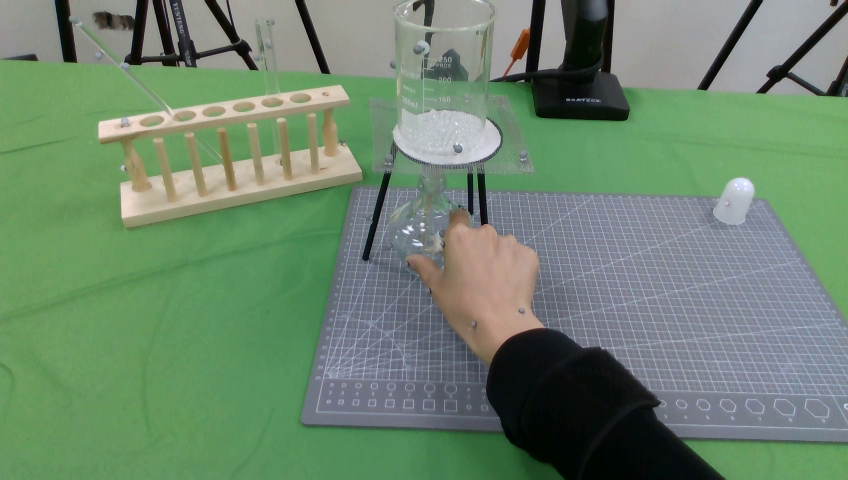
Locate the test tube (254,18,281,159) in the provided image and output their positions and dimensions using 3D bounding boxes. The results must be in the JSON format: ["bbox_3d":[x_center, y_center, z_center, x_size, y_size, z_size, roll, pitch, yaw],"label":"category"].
[{"bbox_3d":[-0.159,-0.151,0.625,0.017,0.151,0.017,2,37,-1],"label":"test tube"}]

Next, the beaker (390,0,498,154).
[{"bbox_3d":[0.010,-0.123,0.457,0.083,0.101,0.074,23,44,25],"label":"beaker"}]

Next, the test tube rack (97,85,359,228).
[{"bbox_3d":[-0.195,-0.091,0.630,0.243,0.086,0.066,-14,43,-18],"label":"test tube rack"}]

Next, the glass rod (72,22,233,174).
[{"bbox_3d":[-0.253,-0.127,0.584,0.008,0.202,0.008,-18,47,20],"label":"glass rod"}]

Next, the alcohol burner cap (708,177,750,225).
[{"bbox_3d":[0.315,-0.043,0.622,0.034,0.048,0.033,1,40,-1],"label":"alcohol burner cap"}]

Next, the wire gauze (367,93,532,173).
[{"bbox_3d":[0.015,-0.087,0.490,0.125,0.011,0.120,-4,38,-2],"label":"wire gauze"}]

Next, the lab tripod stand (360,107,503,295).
[{"bbox_3d":[0.014,-0.037,0.532,0.148,0.132,0.147,1,42,0],"label":"lab tripod stand"}]

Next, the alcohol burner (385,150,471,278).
[{"bbox_3d":[0.004,-0.026,0.534,0.078,0.120,0.077,1,39,0],"label":"alcohol burner"}]
